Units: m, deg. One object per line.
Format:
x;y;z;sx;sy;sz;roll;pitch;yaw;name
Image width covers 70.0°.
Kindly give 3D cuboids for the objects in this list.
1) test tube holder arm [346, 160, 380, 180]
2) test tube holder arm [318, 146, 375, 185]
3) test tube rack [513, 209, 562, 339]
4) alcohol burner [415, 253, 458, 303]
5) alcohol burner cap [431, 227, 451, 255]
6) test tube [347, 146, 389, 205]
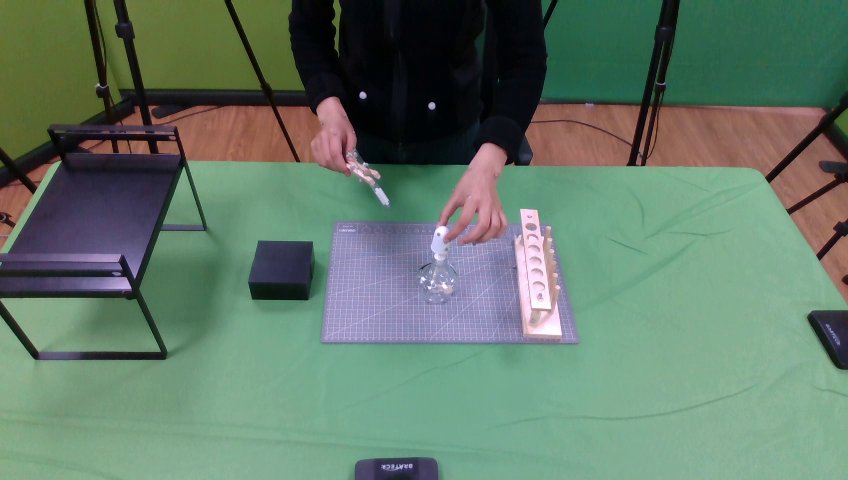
-0.112;-0.127;1.087;0.087;0.015;0.010;23;62;38;test tube holder arm
-0.146;-0.140;1.114;0.013;0.015;0.177;-43;47;-17;test tube holder arm
0.212;0.056;1.113;0.067;0.085;0.241;3;46;-1;test tube rack
0.024;0.057;1.078;0.078;0.119;0.077;3;44;-2;alcohol burner
0.031;-0.001;1.009;0.034;0.048;0.033;4;47;-4;alcohol burner cap
-0.097;-0.111;1.076;0.017;0.151;0.017;-14;49;17;test tube
